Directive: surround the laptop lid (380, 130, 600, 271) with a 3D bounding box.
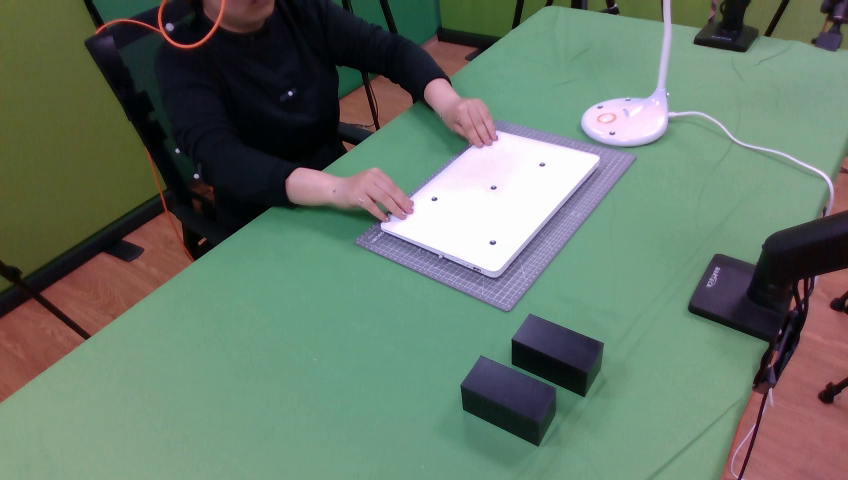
[{"bbox_3d":[0.119,-0.087,1.036,0.239,0.013,0.358,22,48,33],"label":"laptop lid"}]

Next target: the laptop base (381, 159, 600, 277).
[{"bbox_3d":[0.122,-0.077,1.043,0.233,0.023,0.355,20,47,33],"label":"laptop base"}]

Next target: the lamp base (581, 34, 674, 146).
[{"bbox_3d":[0.392,-0.291,1.129,0.180,0.181,0.159,-11,41,-8],"label":"lamp base"}]
